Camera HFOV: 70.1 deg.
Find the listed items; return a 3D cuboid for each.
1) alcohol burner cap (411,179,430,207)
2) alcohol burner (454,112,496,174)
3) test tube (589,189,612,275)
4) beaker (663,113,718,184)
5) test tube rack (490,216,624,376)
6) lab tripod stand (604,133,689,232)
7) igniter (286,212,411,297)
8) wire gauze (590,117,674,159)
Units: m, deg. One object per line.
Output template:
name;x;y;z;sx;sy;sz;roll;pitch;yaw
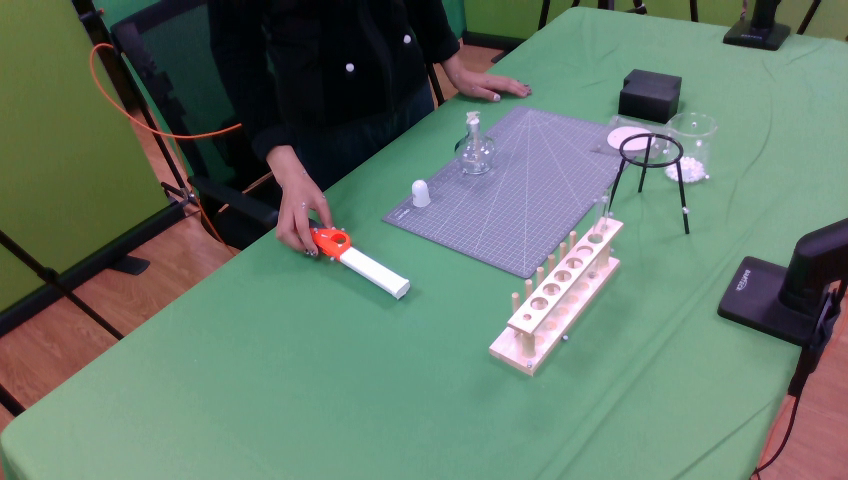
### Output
alcohol burner cap;-0.009;-0.085;1.063;0.034;0.048;0.033;-4;40;4
alcohol burner;0.092;-0.181;1.102;0.078;0.119;0.077;-5;42;5
test tube;0.238;-0.007;0.818;0.017;0.151;0.017;-3;43;4
beaker;0.442;-0.151;1.018;0.084;0.101;0.074;-1;40;11
test tube rack;0.184;0.064;0.822;0.066;0.085;0.243;24;50;33
lab tripod stand;0.347;-0.086;0.933;0.148;0.132;0.147;-4;40;4
igniter;-0.130;0.017;0.962;0.274;0.025;0.057;28;55;33
wire gauze;0.393;-0.192;1.139;0.120;0.011;0.125;19;47;28
